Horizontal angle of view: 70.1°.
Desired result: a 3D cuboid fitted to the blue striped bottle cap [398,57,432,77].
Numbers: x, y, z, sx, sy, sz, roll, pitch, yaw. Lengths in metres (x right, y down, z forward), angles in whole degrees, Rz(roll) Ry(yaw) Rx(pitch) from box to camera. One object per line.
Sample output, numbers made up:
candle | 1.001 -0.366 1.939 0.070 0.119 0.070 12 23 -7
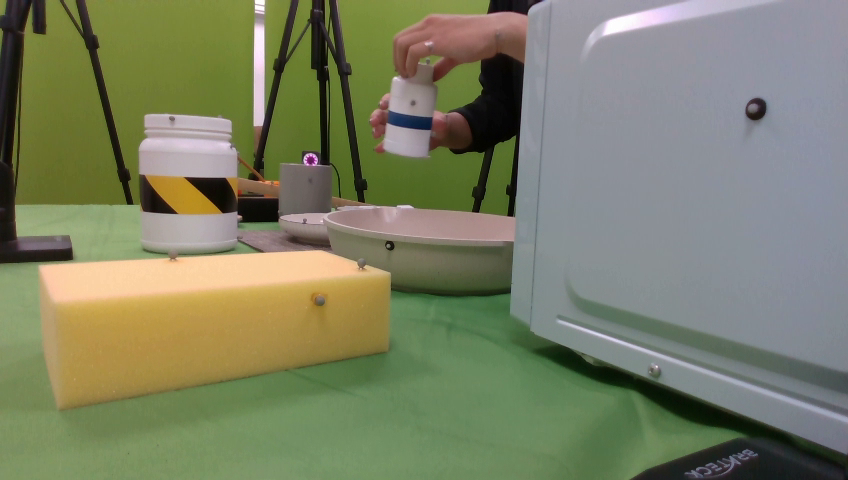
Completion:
blue striped bottle cap | -0.012 -0.229 0.801 0.044 0.020 0.044 9 16 -2

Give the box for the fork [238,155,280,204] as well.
fork | -0.396 -0.143 1.486 0.028 0.018 0.208 20 -26 45

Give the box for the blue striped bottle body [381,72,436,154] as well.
blue striped bottle body | -0.019 -0.181 0.816 0.063 0.121 0.063 9 16 -2

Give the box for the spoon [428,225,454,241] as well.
spoon | 0.024 -0.018 1.124 0.042 0.021 0.193 -17 10 -4

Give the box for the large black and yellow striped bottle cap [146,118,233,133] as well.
large black and yellow striped bottle cap | -0.333 -0.163 0.861 0.115 0.019 0.115 1 9 0

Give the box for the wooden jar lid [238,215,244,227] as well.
wooden jar lid | -0.404 -0.037 1.169 0.108 0.020 0.108 3 7 0

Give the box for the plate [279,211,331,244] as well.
plate | -0.139 -0.022 1.021 0.209 0.038 0.209 2 8 0

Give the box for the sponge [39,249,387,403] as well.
sponge | -0.142 0.047 0.419 0.208 0.061 0.117 -3 8 -37

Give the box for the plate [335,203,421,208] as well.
plate | -0.089 -0.053 1.309 0.208 0.039 0.207 2 8 0

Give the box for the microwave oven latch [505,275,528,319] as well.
microwave oven latch | 0.100 0.041 0.471 0.079 0.029 0.030 -2 8 -29

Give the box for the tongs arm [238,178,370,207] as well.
tongs arm | -0.241 -0.095 1.373 0.387 0.026 0.050 9 -1 -37

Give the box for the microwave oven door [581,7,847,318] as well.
microwave oven door | 0.295 -0.067 0.569 0.358 0.243 0.039 -3 8 -31

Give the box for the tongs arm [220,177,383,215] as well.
tongs arm | -0.285 -0.103 1.445 0.389 0.027 0.028 9 -4 -23

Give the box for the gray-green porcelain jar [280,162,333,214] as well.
gray-green porcelain jar | -0.238 -0.092 1.221 0.106 0.126 0.106 2 7 0

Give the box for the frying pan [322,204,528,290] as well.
frying pan | 0.109 -0.017 0.800 0.490 0.102 0.305 -12 16 -30

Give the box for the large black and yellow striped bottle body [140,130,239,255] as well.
large black and yellow striped bottle body | -0.336 -0.078 0.871 0.131 0.184 0.130 2 8 0

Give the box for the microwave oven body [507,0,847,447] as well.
microwave oven body | 0.331 -0.042 0.425 0.444 0.260 0.324 -2 8 -31
